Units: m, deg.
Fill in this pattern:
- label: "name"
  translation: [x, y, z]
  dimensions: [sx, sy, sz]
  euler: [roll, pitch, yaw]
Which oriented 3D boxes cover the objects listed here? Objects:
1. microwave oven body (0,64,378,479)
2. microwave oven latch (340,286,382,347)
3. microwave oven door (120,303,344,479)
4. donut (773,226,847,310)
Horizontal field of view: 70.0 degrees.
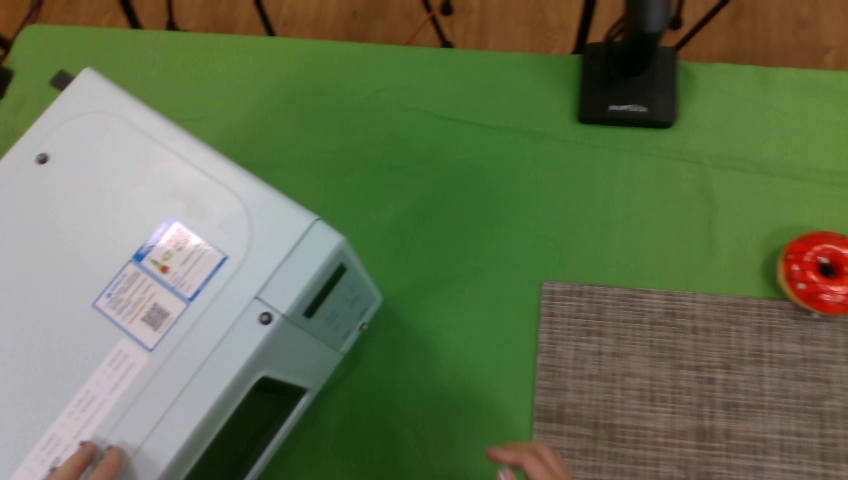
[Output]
- label: "microwave oven body"
  translation: [-0.309, 0.119, 0.592]
  dimensions: [0.324, 0.262, 0.441]
  euler: [32, 79, 12]
- label: "microwave oven latch"
  translation: [-0.079, 0.082, 0.688]
  dimensions: [0.030, 0.030, 0.079]
  euler: [34, 79, 13]
- label: "microwave oven door"
  translation: [-0.212, 0.226, 0.547]
  dimensions: [0.039, 0.245, 0.355]
  euler: [32, 78, 14]
- label: "donut"
  translation: [0.445, 0.031, 0.679]
  dimensions: [0.099, 0.048, 0.098]
  euler: [-3, 69, 7]
